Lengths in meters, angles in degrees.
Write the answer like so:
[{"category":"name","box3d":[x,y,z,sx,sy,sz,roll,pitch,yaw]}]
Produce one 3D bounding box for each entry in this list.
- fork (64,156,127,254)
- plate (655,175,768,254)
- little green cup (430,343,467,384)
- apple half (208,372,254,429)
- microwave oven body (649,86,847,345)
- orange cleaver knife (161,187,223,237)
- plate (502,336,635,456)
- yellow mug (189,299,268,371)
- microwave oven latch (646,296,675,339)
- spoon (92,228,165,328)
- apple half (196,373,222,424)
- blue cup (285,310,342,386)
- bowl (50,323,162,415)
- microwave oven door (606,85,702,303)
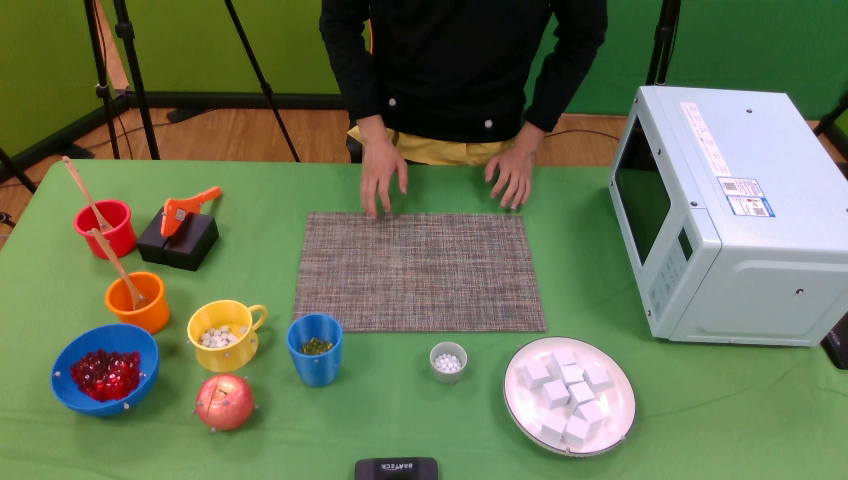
[{"category":"fork","box3d":[-0.614,-0.064,1.130,0.028,0.018,0.207,-29,97,-16]},{"category":"plate","box3d":[0.555,-0.046,1.184,0.209,0.038,0.208,2,46,-2]},{"category":"little green cup","box3d":[0.039,0.203,0.994,0.061,0.039,0.061,2,46,-2]},{"category":"apple half","box3d":[-0.282,0.244,0.908,0.053,0.075,0.080,7,43,-1]},{"category":"microwave oven body","box3d":[0.568,-0.053,1.118,0.326,0.261,0.439,2,45,-1]},{"category":"orange cleaver knife","box3d":[-0.448,-0.058,1.180,0.012,0.077,0.211,13,17,6]},{"category":"plate","box3d":[0.225,0.248,0.963,0.208,0.039,0.206,2,46,-2]},{"category":"yellow mug","box3d":[-0.316,0.148,1.002,0.131,0.064,0.099,-33,56,-31]},{"category":"microwave oven latch","box3d":[0.412,0.134,1.061,0.030,0.029,0.078,4,45,1]},{"category":"spoon","box3d":[-0.496,0.063,1.014,0.041,0.194,0.021,-34,12,-32]},{"category":"apple half","box3d":[-0.322,0.239,0.907,0.033,0.081,0.081,7,46,-1]},{"category":"blue cup","box3d":[-0.170,0.179,0.958,0.093,0.101,0.092,2,44,-1]},{"category":"bowl","box3d":[-0.472,0.209,0.924,0.151,0.077,0.150,3,45,-2]},{"category":"microwave oven door","box3d":[0.423,-0.094,1.140,0.039,0.245,0.353,2,46,-1]}]
